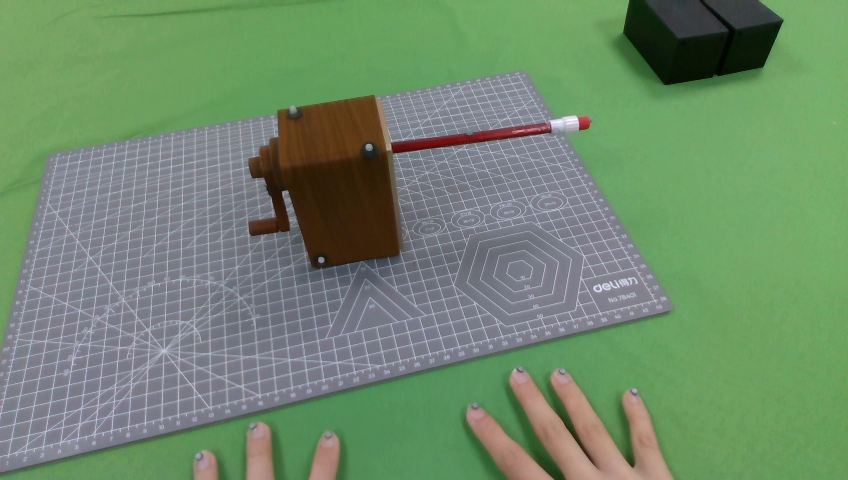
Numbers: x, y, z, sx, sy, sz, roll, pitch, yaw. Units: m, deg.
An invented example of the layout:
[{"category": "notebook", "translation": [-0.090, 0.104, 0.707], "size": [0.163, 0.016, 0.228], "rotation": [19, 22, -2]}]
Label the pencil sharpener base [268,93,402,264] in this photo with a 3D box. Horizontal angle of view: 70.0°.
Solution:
[{"category": "pencil sharpener base", "translation": [-0.060, -0.040, 0.427], "size": [0.077, 0.108, 0.060], "rotation": [-10, 50, -5]}]

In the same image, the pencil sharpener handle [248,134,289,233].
[{"category": "pencil sharpener handle", "translation": [-0.110, -0.036, 0.409], "size": [0.031, 0.068, 0.035], "rotation": [-10, 31, -5]}]

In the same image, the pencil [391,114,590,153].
[{"category": "pencil", "translation": [0.021, -0.069, 0.416], "size": [0.194, 0.012, 0.012], "rotation": [-9, 49, -6]}]
